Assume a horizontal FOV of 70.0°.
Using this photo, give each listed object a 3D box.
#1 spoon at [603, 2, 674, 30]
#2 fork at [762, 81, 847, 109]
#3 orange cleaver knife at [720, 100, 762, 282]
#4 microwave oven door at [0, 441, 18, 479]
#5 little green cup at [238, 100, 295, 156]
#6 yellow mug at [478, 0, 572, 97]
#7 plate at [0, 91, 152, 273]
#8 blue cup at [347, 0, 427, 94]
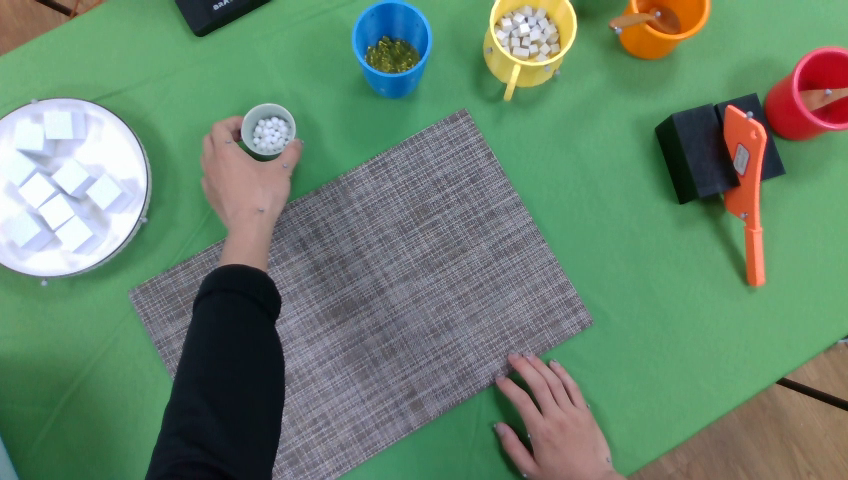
[{"bbox_3d":[0.241,-0.251,0.678,0.021,0.194,0.041,-37,82,39],"label":"spoon"},{"bbox_3d":[0.497,-0.178,0.679,0.206,0.019,0.028,-6,79,40],"label":"fork"},{"bbox_3d":[0.360,-0.053,0.693,0.012,0.076,0.213,-15,113,-1],"label":"orange cleaver knife"},{"bbox_3d":[-0.405,0.334,0.528,0.039,0.244,0.355,-27,85,-5],"label":"microwave oven door"},{"bbox_3d":[-0.181,-0.128,0.707,0.061,0.039,0.061,0,83,1],"label":"little green cup"},{"bbox_3d":[0.112,-0.231,0.713,0.100,0.064,0.130,18,84,1],"label":"yellow mug"},{"bbox_3d":[-0.413,-0.065,0.693,0.208,0.039,0.207,0,84,-1],"label":"plate"},{"bbox_3d":[-0.041,-0.212,0.689,0.093,0.100,0.092,0,84,-3],"label":"blue cup"}]
